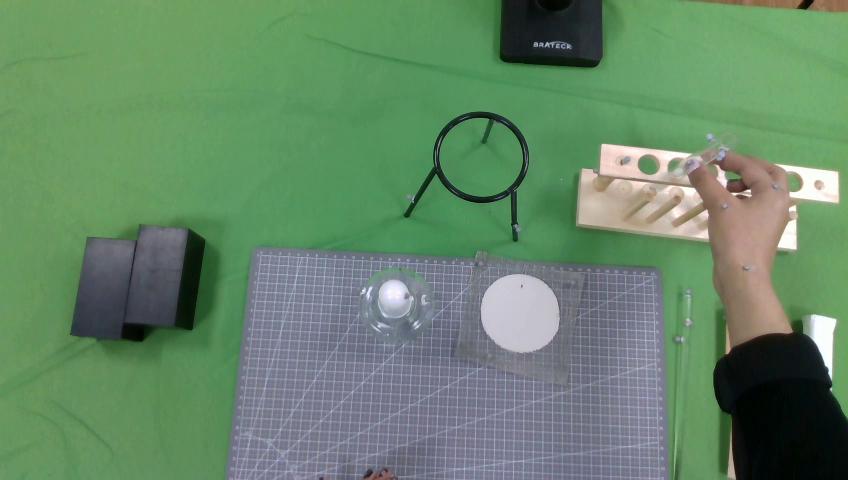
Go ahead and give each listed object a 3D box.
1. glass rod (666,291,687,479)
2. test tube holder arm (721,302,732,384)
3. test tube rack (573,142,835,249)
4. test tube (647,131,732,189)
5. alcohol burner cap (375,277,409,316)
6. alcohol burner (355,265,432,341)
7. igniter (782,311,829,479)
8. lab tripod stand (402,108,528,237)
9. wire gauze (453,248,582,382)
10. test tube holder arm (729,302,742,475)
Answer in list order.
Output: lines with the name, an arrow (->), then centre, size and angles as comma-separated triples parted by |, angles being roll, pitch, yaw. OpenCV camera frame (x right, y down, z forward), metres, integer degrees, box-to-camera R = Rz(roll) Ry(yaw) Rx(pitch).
glass rod -> 0.269, 0.152, 0.644 | 0.008, 0.008, 0.199 | 9, 80, 0
test tube holder arm -> 0.326, 0.111, 0.651 | 0.010, 0.015, 0.087 | -4, 75, 37
test tube rack -> 0.293, -0.045, 0.649 | 0.242, 0.085, 0.066 | 7, 77, 0
test tube -> 0.255, -0.075, 0.595 | 0.017, 0.150, 0.017 | 1, 80, -3
alcohol burner cap -> -0.031, 0.050, 0.564 | 0.034, 0.048, 0.033 | 1, 71, -2
alcohol burner -> -0.031, 0.060, 0.599 | 0.078, 0.119, 0.077 | 0, 77, 1
igniter -> 0.397, 0.211, 0.625 | 0.057, 0.025, 0.275 | 12, 77, -10
lab tripod stand -> 0.047, -0.064, 0.621 | 0.148, 0.132, 0.148 | 0, 79, -1
wire gauze -> 0.102, 0.079, 0.653 | 0.125, 0.011, 0.121 | 14, 79, 0
test tube holder arm -> 0.327, 0.154, 0.638 | 0.013, 0.015, 0.177 | -6, 74, 36
